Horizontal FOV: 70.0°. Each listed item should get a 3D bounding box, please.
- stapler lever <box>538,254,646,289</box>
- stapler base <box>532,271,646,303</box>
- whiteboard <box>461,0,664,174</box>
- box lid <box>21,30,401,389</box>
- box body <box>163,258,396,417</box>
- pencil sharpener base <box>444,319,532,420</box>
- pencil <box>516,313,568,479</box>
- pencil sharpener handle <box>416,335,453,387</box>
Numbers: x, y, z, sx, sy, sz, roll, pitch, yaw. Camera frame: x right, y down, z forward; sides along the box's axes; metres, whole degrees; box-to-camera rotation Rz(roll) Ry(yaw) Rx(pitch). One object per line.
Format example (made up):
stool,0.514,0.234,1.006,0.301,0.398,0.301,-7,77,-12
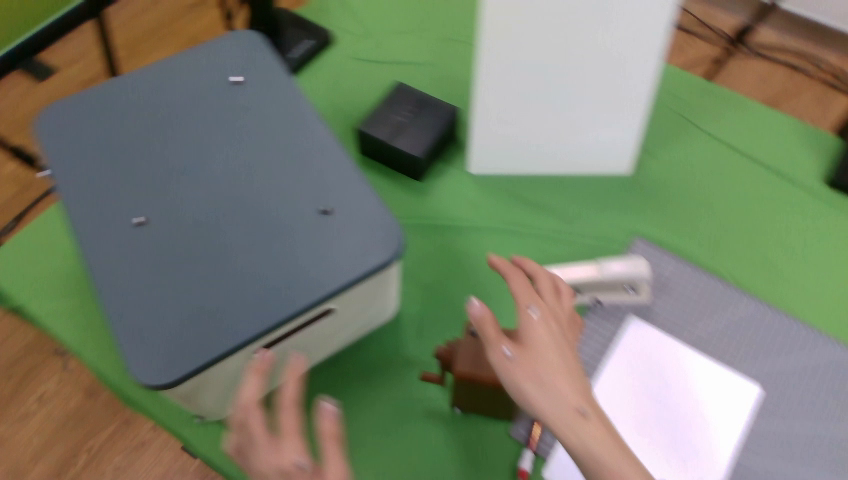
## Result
stapler lever,0.190,0.036,0.683,0.118,0.040,0.026,-2,55,2
stapler base,0.193,0.049,0.704,0.130,0.024,0.041,-2,55,3
whiteboard,0.157,-0.251,0.759,0.217,0.308,0.142,0,40,1
box lid,-0.221,-0.062,0.603,0.263,0.015,0.368,-30,65,-17
box body,-0.219,-0.022,0.666,0.254,0.162,0.360,-30,64,-17
pencil sharpener base,0.061,0.131,0.607,0.076,0.108,0.061,10,60,7
pencil,0.129,0.160,0.645,0.012,0.012,0.193,18,60,11
pencil sharpener handle,0.009,0.120,0.598,0.030,0.068,0.035,10,37,7
